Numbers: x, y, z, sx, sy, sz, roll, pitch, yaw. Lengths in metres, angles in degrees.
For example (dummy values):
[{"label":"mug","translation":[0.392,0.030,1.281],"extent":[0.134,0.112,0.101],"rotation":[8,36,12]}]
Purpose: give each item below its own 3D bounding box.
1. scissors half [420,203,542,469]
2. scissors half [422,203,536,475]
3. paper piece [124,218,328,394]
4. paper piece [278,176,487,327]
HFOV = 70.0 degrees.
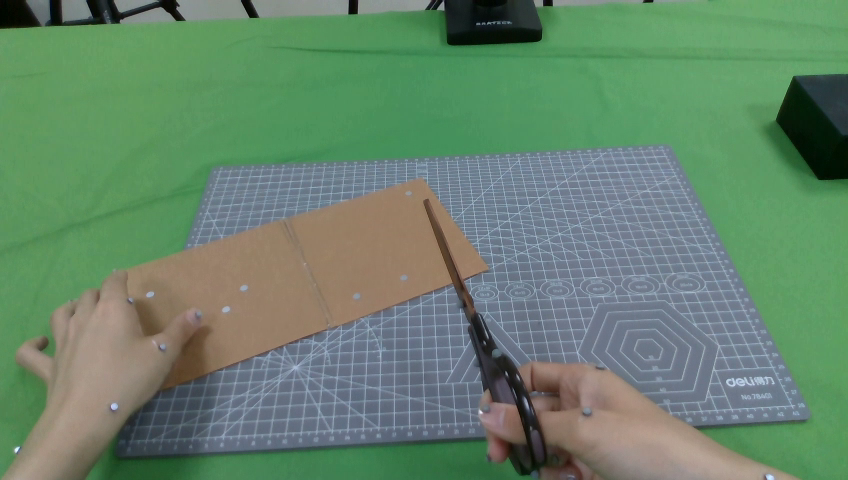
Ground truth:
[{"label":"scissors half","translation":[0.026,0.044,0.346],"extent":[0.013,0.040,0.173],"rotation":[-19,56,-6]},{"label":"scissors half","translation":[0.027,0.053,0.363],"extent":[0.013,0.040,0.174],"rotation":[-16,72,-11]},{"label":"paper piece","translation":[-0.159,0.043,0.474],"extent":[0.136,0.004,0.134],"rotation":[-19,46,-16]},{"label":"paper piece","translation":[-0.038,0.002,0.511],"extent":[0.138,0.009,0.134],"rotation":[-18,51,-17]}]
